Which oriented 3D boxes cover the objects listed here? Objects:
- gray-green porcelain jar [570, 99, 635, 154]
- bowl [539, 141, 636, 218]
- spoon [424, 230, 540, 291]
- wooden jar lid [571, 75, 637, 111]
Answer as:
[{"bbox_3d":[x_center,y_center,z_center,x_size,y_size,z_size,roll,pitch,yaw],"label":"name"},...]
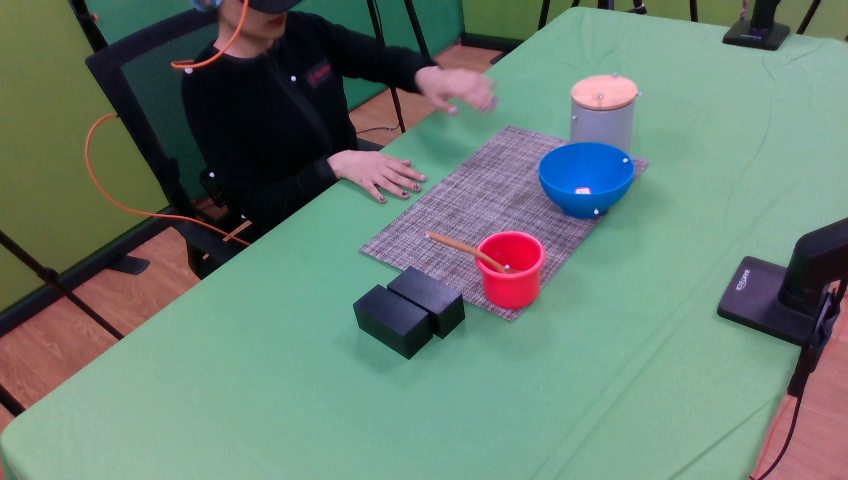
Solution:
[{"bbox_3d":[0.313,-0.197,1.069,0.106,0.127,0.105,-5,40,5],"label":"gray-green porcelain jar"},{"bbox_3d":[0.264,-0.089,0.989,0.151,0.077,0.150,-5,40,5],"label":"bowl"},{"bbox_3d":[0.083,0.026,0.836,0.195,0.021,0.041,29,31,-24],"label":"spoon"},{"bbox_3d":[0.305,-0.246,1.027,0.108,0.021,0.108,-5,41,5],"label":"wooden jar lid"}]
